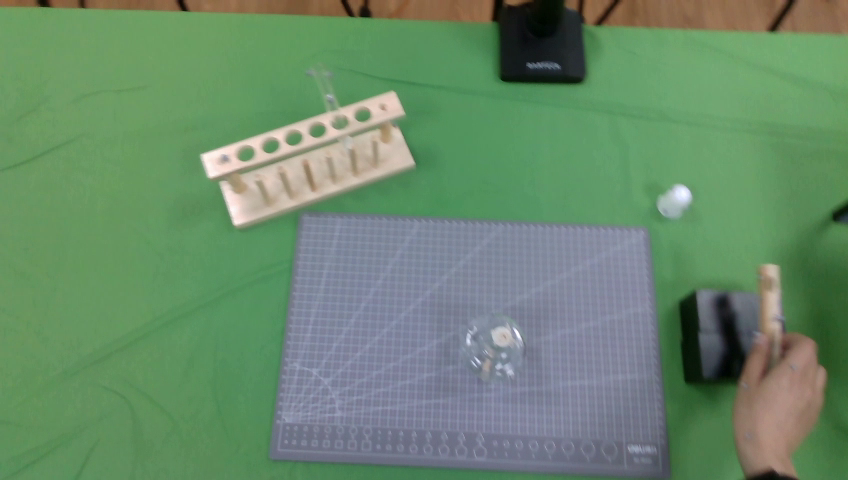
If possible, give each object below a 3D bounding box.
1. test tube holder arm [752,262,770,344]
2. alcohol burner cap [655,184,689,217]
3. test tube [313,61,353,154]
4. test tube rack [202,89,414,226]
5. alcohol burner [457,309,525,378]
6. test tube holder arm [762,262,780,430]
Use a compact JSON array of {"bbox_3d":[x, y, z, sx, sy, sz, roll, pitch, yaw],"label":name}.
[{"bbox_3d":[0.365,0.068,0.656,0.010,0.015,0.087,-1,85,3],"label":"test tube holder arm"},{"bbox_3d":[0.320,-0.053,0.776,0.034,0.048,0.033,0,70,0],"label":"alcohol burner cap"},{"bbox_3d":[-0.105,-0.152,0.720,0.017,0.151,0.017,-3,60,6],"label":"test tube"},{"bbox_3d":[-0.137,-0.102,0.756,0.242,0.085,0.066,-20,72,-8],"label":"test tube rack"},{"bbox_3d":[0.076,0.111,0.670,0.078,0.120,0.077,1,71,-2],"label":"alcohol burner"},{"bbox_3d":[0.372,0.113,0.652,0.013,0.015,0.178,-2,85,3],"label":"test tube holder arm"}]
